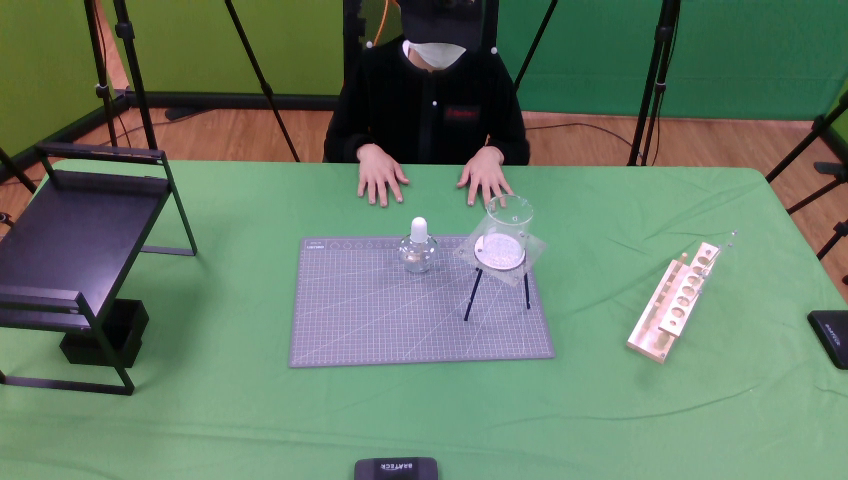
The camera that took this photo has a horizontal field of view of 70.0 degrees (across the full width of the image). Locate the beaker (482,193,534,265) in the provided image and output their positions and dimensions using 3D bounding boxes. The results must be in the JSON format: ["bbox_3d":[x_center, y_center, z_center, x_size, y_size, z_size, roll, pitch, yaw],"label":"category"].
[{"bbox_3d":[0.135,-0.016,0.979,0.073,0.101,0.084,35,52,28],"label":"beaker"}]

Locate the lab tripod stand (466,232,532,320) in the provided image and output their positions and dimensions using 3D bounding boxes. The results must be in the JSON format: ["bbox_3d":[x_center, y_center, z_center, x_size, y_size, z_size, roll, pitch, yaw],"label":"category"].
[{"bbox_3d":[0.125,0.059,1.065,0.148,0.132,0.147,1,45,0],"label":"lab tripod stand"}]

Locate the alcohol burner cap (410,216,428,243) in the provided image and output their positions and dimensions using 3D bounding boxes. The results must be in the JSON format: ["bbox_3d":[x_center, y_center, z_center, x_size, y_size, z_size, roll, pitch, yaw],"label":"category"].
[{"bbox_3d":[-0.009,-0.022,1.099,0.034,0.048,0.033,2,41,-1],"label":"alcohol burner cap"}]

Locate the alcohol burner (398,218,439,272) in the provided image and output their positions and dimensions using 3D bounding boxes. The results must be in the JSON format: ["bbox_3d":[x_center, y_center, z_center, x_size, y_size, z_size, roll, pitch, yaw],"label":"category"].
[{"bbox_3d":[-0.010,0.004,1.124,0.078,0.120,0.077,1,47,0],"label":"alcohol burner"}]

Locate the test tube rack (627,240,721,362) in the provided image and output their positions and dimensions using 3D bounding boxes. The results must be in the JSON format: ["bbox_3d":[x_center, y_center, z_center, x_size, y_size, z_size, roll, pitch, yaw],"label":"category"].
[{"bbox_3d":[0.452,0.098,1.087,0.066,0.085,0.242,28,51,22],"label":"test tube rack"}]

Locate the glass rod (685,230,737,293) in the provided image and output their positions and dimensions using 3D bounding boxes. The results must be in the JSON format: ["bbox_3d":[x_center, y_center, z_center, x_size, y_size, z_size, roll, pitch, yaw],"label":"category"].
[{"bbox_3d":[0.495,0.042,1.051,0.008,0.200,0.008,2,55,-2],"label":"glass rod"}]

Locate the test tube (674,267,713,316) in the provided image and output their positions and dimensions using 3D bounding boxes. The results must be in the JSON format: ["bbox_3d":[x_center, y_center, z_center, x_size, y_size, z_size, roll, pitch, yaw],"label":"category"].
[{"bbox_3d":[0.445,0.098,1.017,0.017,0.151,0.017,4,48,-4],"label":"test tube"}]

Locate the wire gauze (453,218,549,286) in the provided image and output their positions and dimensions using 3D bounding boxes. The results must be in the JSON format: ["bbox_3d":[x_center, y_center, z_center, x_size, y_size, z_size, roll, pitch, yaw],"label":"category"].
[{"bbox_3d":[0.129,0.014,1.019,0.124,0.011,0.121,26,47,25],"label":"wire gauze"}]
